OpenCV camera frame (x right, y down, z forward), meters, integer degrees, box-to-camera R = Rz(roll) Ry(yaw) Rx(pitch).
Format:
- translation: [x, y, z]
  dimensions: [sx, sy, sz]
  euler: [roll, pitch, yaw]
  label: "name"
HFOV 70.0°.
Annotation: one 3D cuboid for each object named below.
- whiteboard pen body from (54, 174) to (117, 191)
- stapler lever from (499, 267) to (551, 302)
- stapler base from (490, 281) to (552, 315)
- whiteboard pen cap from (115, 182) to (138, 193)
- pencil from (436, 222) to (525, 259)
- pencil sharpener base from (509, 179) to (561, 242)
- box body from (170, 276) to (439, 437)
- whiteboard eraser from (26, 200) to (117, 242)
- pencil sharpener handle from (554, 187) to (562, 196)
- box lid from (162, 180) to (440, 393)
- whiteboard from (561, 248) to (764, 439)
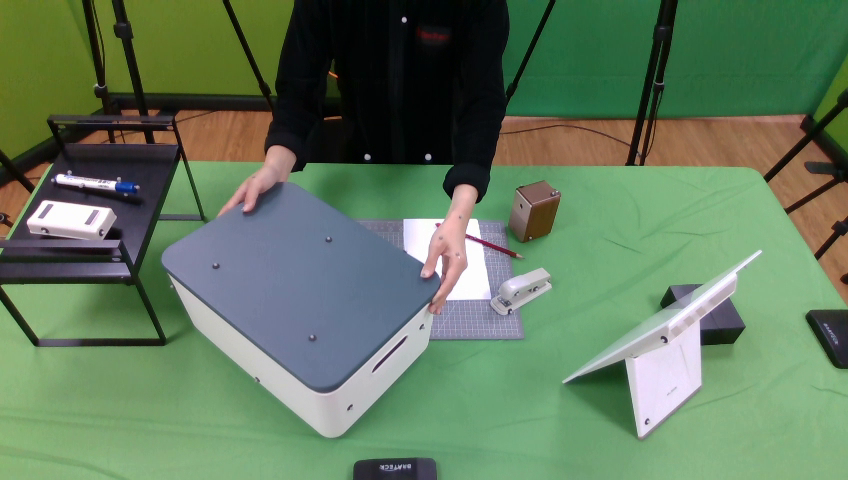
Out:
- translation: [-0.541, -0.093, 0.993]
  dimensions: [0.140, 0.017, 0.017]
  euler: [7, 46, 9]
  label: "whiteboard pen body"
- translation: [0.185, 0.076, 1.101]
  dimensions: [0.118, 0.040, 0.026]
  euler: [-25, 57, -29]
  label: "stapler lever"
- translation: [0.181, 0.094, 1.118]
  dimensions: [0.130, 0.024, 0.041]
  euler: [-24, 57, -29]
  label: "stapler base"
- translation: [-0.483, -0.086, 0.984]
  dimensions: [0.033, 0.018, 0.018]
  euler: [7, 46, 10]
  label: "whiteboard pen cap"
- translation: [0.112, 0.001, 1.211]
  dimensions: [0.193, 0.012, 0.012]
  euler: [22, 49, 14]
  label: "pencil"
- translation: [0.222, -0.059, 1.212]
  dimensions: [0.077, 0.107, 0.061]
  euler: [-18, 50, -21]
  label: "pencil sharpener base"
- translation: [-0.190, 0.108, 0.980]
  dimensions: [0.362, 0.161, 0.254]
  euler: [32, 52, 23]
  label: "box body"
- translation: [-0.532, -0.026, 0.919]
  dimensions: [0.113, 0.042, 0.055]
  euler: [7, 45, 3]
  label: "whiteboard eraser"
- translation: [0.266, -0.085, 1.223]
  dimensions: [0.031, 0.068, 0.036]
  euler: [-18, 64, -21]
  label: "pencil sharpener handle"
- translation: [-0.185, 0.049, 0.916]
  dimensions: [0.370, 0.015, 0.263]
  euler: [31, 53, 24]
  label: "box lid"
- translation: [0.386, 0.176, 0.905]
  dimensions: [0.217, 0.306, 0.143]
  euler: [-26, 72, -27]
  label: "whiteboard"
